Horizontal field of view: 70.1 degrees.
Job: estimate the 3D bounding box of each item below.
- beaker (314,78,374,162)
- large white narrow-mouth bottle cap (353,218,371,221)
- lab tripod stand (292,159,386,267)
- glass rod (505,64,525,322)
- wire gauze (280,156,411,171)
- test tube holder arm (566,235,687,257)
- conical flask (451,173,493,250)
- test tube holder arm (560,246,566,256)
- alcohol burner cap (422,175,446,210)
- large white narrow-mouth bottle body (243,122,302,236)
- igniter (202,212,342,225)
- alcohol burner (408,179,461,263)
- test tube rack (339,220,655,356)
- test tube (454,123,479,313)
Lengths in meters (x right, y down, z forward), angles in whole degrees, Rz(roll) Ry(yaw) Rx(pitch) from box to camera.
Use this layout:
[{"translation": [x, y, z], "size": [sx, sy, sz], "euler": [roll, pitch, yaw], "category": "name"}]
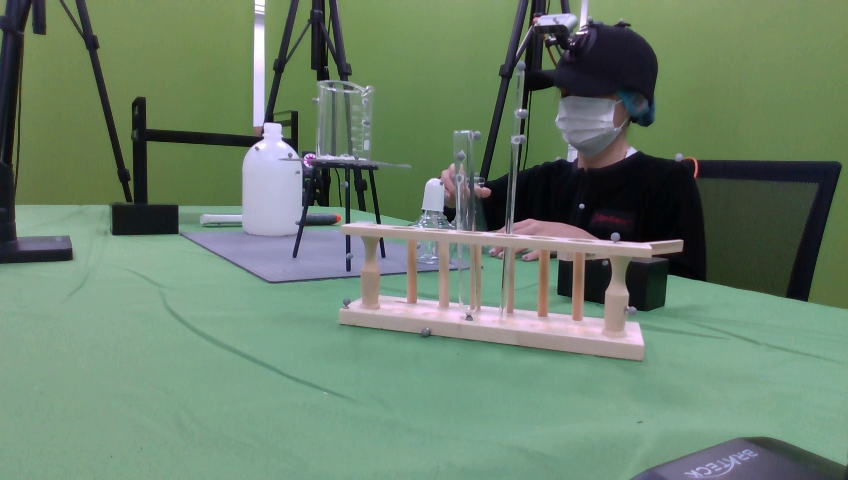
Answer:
[{"translation": [-0.101, -0.150, 0.773], "size": [0.074, 0.100, 0.083], "euler": [-2, 8, -40], "category": "beaker"}, {"translation": [-0.121, -0.029, 1.184], "size": [0.038, 0.024, 0.037], "euler": [2, 8, 0], "category": "large white narrow-mouth bottle cap"}, {"translation": [-0.105, -0.039, 0.797], "size": [0.148, 0.131, 0.148], "euler": [2, 5, 0], "category": "lab tripod stand"}, {"translation": [0.069, -0.030, 0.458], "size": [0.008, 0.199, 0.008], "euler": [0, 15, 0], "category": "glass rod"}, {"translation": [-0.103, -0.103, 0.785], "size": [0.121, 0.011, 0.126], "euler": [11, 8, 42], "category": "wire gauze"}, {"translation": [0.215, 0.006, 0.629], "size": [0.179, 0.015, 0.013], "euler": [-3, 10, -30], "category": "test tube holder arm"}, {"translation": [0.078, -0.047, 0.979], "size": [0.075, 0.122, 0.075], "euler": [3, 7, 0], "category": "conical flask"}, {"translation": [0.173, 0.007, 0.611], "size": [0.088, 0.015, 0.010], "euler": [-3, 10, -30], "category": "test tube holder arm"}, {"translation": [0.016, -0.065, 0.830], "size": [0.034, 0.048, 0.034], "euler": [7, 4, 0], "category": "alcohol burner cap"}, {"translation": [-0.264, -0.109, 1.061], "size": [0.102, 0.194, 0.102], "euler": [2, 8, 0], "category": "large white narrow-mouth bottle body"}, {"translation": [-0.298, -0.044, 1.216], "size": [0.278, 0.025, 0.057], "euler": [-3, -2, -32], "category": "igniter"}, {"translation": [0.013, -0.029, 0.834], "size": [0.078, 0.119, 0.078], "euler": [0, 6, 0], "category": "alcohol burner"}, {"translation": [0.056, 0.032, 0.495], "size": [0.242, 0.085, 0.067], "euler": [4, 7, 15], "category": "test tube rack"}, {"translation": [0.034, -0.016, 0.477], "size": [0.017, 0.150, 0.017], "euler": [-2, 9, 1], "category": "test tube"}]
